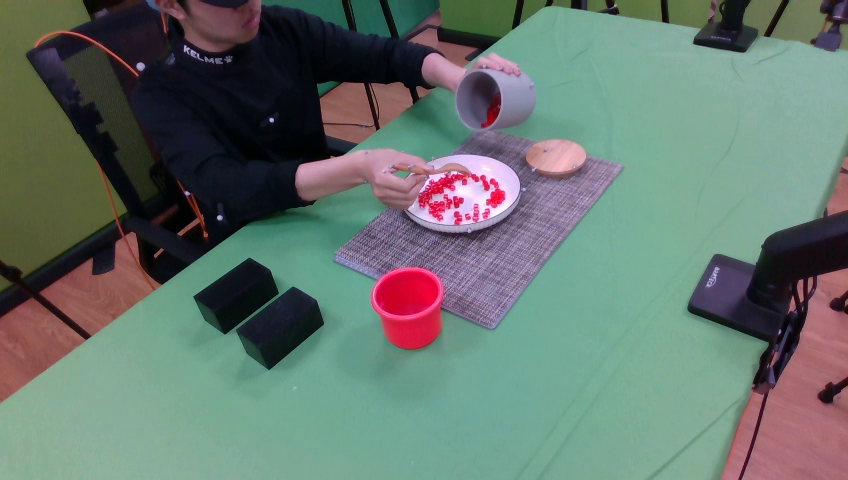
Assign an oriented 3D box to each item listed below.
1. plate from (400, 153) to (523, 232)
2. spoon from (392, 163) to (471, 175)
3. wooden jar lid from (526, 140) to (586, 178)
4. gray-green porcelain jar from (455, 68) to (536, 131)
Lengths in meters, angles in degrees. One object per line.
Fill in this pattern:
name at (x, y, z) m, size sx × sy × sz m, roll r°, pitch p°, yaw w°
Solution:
plate at (0.065, -0.078, 1.034) m, size 0.207 × 0.039 × 0.206 m, roll -4°, pitch 41°, yaw 4°
spoon at (0.015, -0.112, 0.965) m, size 0.041 × 0.021 × 0.195 m, roll 22°, pitch 20°, yaw 33°
wooden jar lid at (0.240, -0.147, 1.103) m, size 0.108 × 0.021 × 0.108 m, roll -4°, pitch 42°, yaw 4°
gray-green porcelain jar at (0.134, -0.255, 1.090) m, size 0.105 × 0.106 × 0.127 m, roll 26°, pitch 29°, yaw 33°
